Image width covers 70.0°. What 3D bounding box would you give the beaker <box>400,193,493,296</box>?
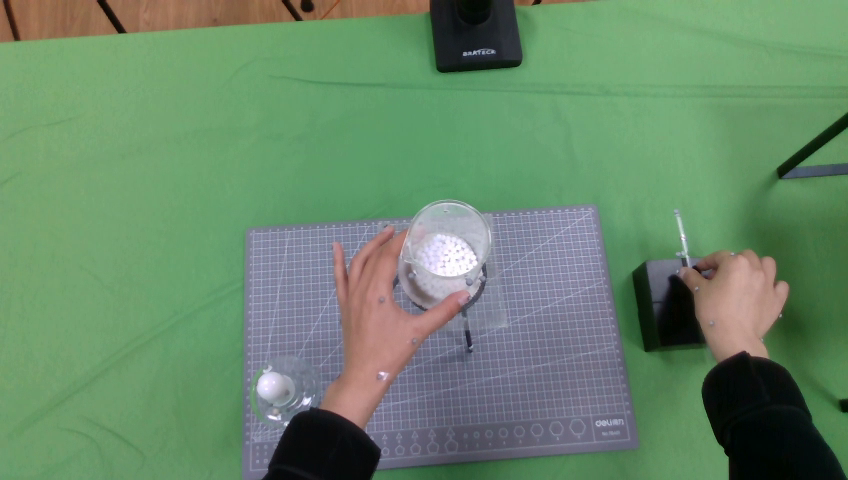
[{"bbox_3d":[0.018,0.011,0.571,0.084,0.101,0.073,-19,73,-7],"label":"beaker"}]

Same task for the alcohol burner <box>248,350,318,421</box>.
[{"bbox_3d":[-0.155,0.155,0.653,0.078,0.119,0.077,1,74,-2],"label":"alcohol burner"}]

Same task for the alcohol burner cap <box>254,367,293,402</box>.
[{"bbox_3d":[-0.155,0.146,0.618,0.034,0.048,0.033,-1,68,2],"label":"alcohol burner cap"}]

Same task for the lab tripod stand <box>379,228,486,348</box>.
[{"bbox_3d":[0.018,0.045,0.679,0.148,0.132,0.147,0,71,0],"label":"lab tripod stand"}]

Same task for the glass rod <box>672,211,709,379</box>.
[{"bbox_3d":[0.307,0.060,0.698,0.008,0.008,0.198,-3,73,-2],"label":"glass rod"}]

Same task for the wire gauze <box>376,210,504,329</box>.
[{"bbox_3d":[0.016,0.029,0.615,0.125,0.011,0.120,-2,74,-4],"label":"wire gauze"}]
